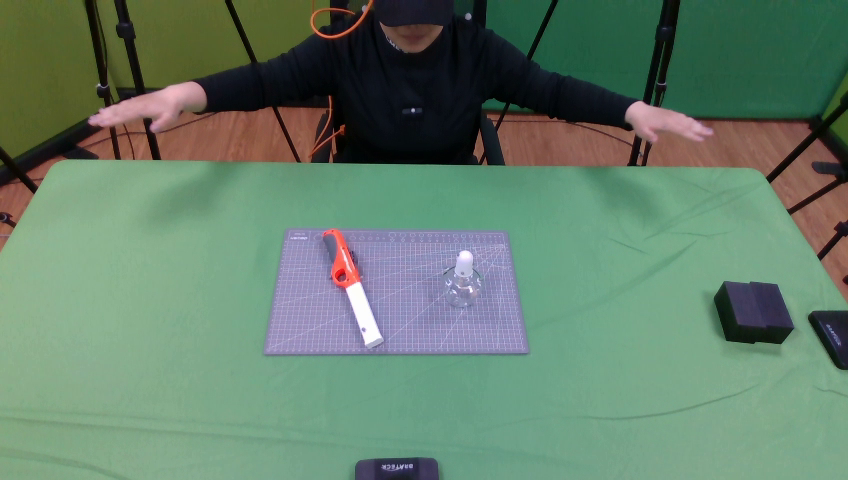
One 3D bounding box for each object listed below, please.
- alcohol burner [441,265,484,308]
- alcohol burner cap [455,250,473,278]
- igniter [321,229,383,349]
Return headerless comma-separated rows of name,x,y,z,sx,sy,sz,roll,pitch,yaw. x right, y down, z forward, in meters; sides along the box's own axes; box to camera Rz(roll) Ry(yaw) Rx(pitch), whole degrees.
alcohol burner,0.069,0.064,1.075,0.078,0.120,0.077,1,45,-1
alcohol burner cap,0.070,0.040,1.048,0.034,0.048,0.033,1,43,-1
igniter,-0.134,0.078,1.102,0.057,0.025,0.274,-28,53,0
